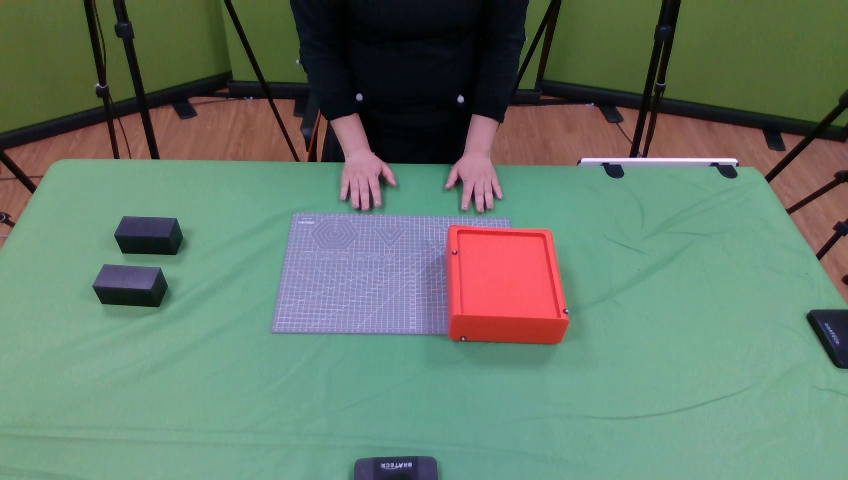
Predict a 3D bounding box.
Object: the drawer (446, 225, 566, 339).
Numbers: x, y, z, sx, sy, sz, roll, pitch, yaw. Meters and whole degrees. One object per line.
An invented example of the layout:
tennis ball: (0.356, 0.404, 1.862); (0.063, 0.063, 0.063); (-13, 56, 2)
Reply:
drawer: (0.139, 0.073, 1.094); (0.194, 0.073, 0.210); (3, 47, -3)

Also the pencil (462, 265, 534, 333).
pencil: (0.130, 0.104, 1.098); (0.012, 0.012, 0.193); (-26, 51, -26)

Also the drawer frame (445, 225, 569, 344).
drawer frame: (0.141, 0.076, 1.089); (0.202, 0.083, 0.212); (3, 47, -4)
